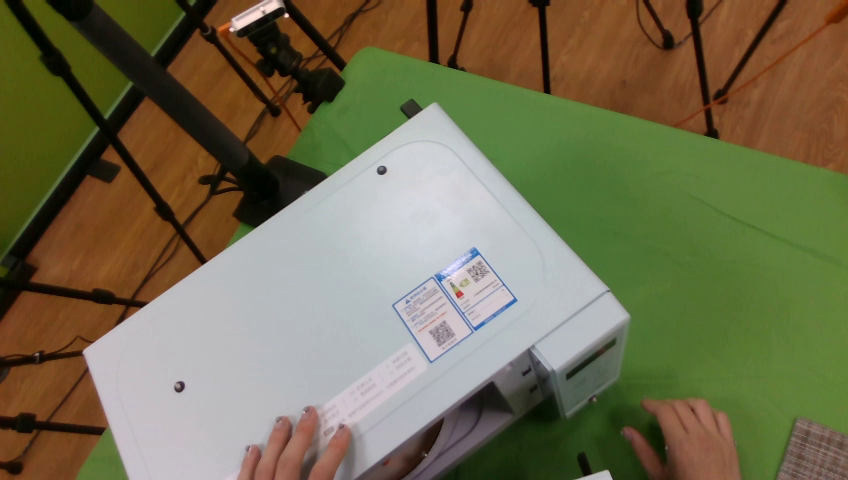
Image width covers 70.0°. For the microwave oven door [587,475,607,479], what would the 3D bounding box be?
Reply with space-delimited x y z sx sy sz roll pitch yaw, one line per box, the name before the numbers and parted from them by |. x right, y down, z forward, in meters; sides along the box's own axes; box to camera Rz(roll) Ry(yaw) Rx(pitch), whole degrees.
microwave oven door | 0.003 0.288 0.562 0.356 0.246 0.039 -20 61 5

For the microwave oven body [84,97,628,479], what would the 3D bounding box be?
microwave oven body | -0.062 0.121 0.661 0.441 0.262 0.323 -36 62 -3

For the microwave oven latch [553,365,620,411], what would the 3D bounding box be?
microwave oven latch | 0.184 0.159 0.687 0.079 0.030 0.030 -35 62 -2
